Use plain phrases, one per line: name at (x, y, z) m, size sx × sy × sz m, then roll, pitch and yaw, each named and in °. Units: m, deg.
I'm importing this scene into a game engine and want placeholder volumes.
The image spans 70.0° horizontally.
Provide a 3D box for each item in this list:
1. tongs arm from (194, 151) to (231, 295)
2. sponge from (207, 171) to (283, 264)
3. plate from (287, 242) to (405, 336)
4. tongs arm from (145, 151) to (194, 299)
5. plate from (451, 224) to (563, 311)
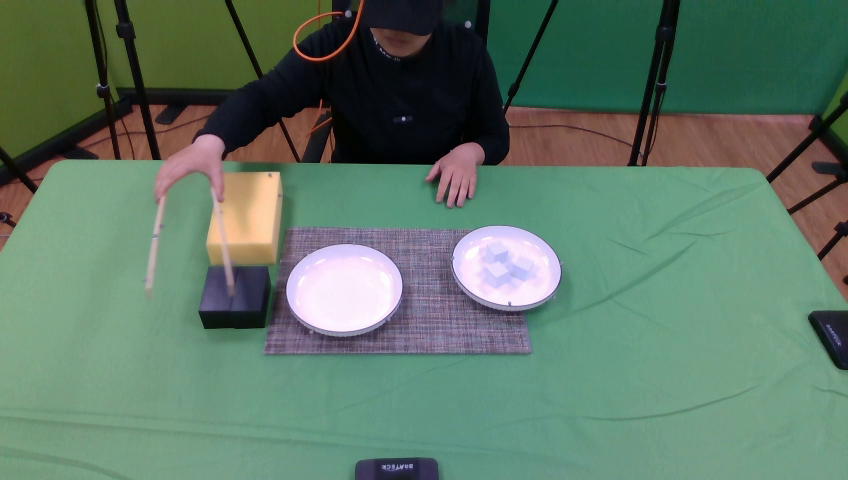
tongs arm at (-0.362, -0.044, 1.039) m, size 0.028 × 0.028 × 0.384 m, roll -10°, pitch 42°, yaw -19°
sponge at (-0.346, -0.048, 1.191) m, size 0.118 × 0.061 × 0.205 m, roll -2°, pitch 46°, yaw -6°
plate at (-0.138, 0.090, 1.085) m, size 0.208 × 0.039 × 0.206 m, roll 2°, pitch 46°, yaw -2°
tongs arm at (-0.422, -0.042, 1.019) m, size 0.051 × 0.026 × 0.382 m, roll -2°, pitch 39°, yaw -16°
plate at (0.154, 0.053, 1.140) m, size 0.209 × 0.038 × 0.208 m, roll 2°, pitch 47°, yaw -2°
